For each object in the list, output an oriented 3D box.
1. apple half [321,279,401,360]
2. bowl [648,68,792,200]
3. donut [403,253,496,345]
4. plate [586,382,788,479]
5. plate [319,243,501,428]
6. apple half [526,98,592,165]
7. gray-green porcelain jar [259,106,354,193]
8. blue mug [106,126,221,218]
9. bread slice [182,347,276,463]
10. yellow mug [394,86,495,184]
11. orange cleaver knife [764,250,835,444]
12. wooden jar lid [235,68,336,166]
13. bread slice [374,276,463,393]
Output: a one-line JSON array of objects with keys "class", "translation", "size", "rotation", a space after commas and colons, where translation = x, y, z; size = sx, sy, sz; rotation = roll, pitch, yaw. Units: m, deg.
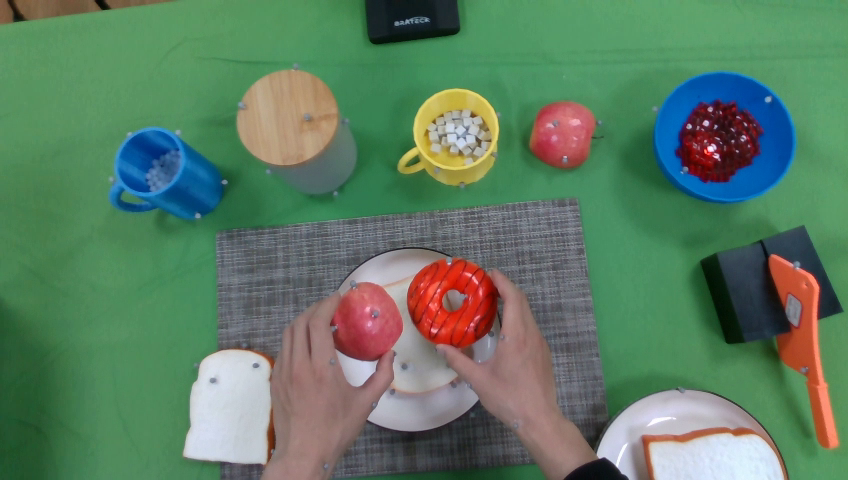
[{"class": "apple half", "translation": [-0.060, 0.081, 0.592], "size": [0.081, 0.033, 0.081], "rotation": [0, 91, -1]}, {"class": "bowl", "translation": [0.327, -0.111, 0.698], "size": [0.151, 0.077, 0.151], "rotation": [-1, 80, 4]}, {"class": "donut", "translation": [0.027, 0.063, 0.643], "size": [0.099, 0.048, 0.098], "rotation": [0, 80, 0]}, {"class": "plate", "translation": [0.278, 0.258, 0.654], "size": [0.209, 0.038, 0.208], "rotation": [-1, 79, 4]}, {"class": "plate", "translation": [-0.016, 0.108, 0.700], "size": [0.207, 0.039, 0.206], "rotation": [-1, 79, 4]}, {"class": "apple half", "translation": [0.163, -0.136, 0.727], "size": [0.074, 0.053, 0.080], "rotation": [16, 82, 10]}, {"class": "gray-green porcelain jar", "translation": [-0.142, -0.117, 0.709], "size": [0.106, 0.127, 0.105], "rotation": [-1, 79, 4]}, {"class": "blue mug", "translation": [-0.317, -0.069, 0.723], "size": [0.116, 0.106, 0.082], "rotation": [-31, 78, -2]}, {"class": "bread slice", "translation": [-0.227, 0.191, 0.710], "size": [0.105, 0.019, 0.131], "rotation": [2, 81, 4]}, {"class": "yellow mug", "translation": [0.022, -0.117, 0.728], "size": [0.131, 0.064, 0.099], "rotation": [-29, 79, -1]}, {"class": "orange cleaver knife", "translation": [0.400, 0.114, 0.649], "size": [0.012, 0.077, 0.212], "rotation": [-17, 100, -6]}, {"class": "wooden jar lid", "translation": [-0.147, -0.129, 0.648], "size": [0.108, 0.021, 0.108], "rotation": [-1, 78, 5]}, {"class": "bread slice", "translation": [-0.011, 0.107, 0.701], "size": [0.107, 0.018, 0.133], "rotation": [-20, 77, -1]}]
